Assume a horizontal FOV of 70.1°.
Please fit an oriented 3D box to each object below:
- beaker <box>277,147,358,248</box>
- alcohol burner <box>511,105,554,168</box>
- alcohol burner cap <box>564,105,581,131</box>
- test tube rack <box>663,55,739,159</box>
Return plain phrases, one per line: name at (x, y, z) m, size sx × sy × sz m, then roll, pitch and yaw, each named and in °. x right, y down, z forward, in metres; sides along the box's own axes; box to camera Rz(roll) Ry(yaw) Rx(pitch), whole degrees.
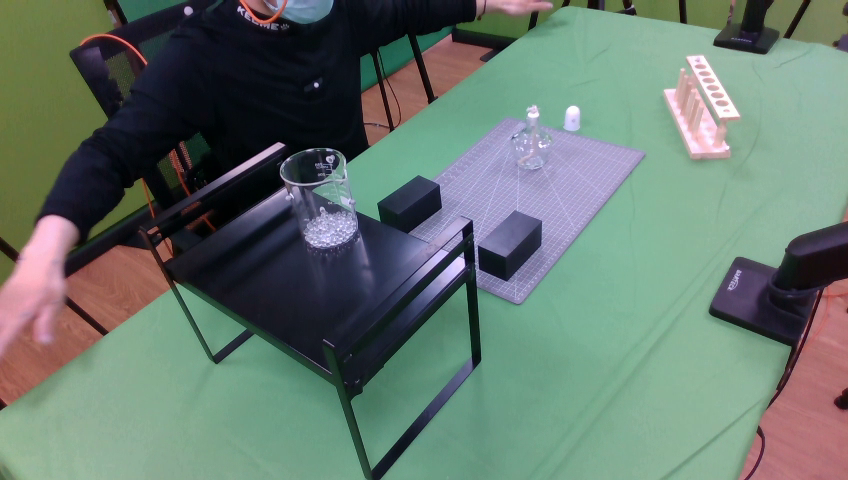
beaker at (-0.117, -0.046, 0.705) m, size 0.083 × 0.101 × 0.074 m, roll 17°, pitch 47°, yaw 25°
alcohol burner at (0.195, -0.190, 1.088) m, size 0.078 × 0.119 × 0.077 m, roll -3°, pitch 42°, yaw 3°
alcohol burner cap at (0.294, -0.243, 1.195) m, size 0.034 × 0.048 × 0.033 m, roll -3°, pitch 39°, yaw 3°
test tube rack at (0.518, -0.256, 1.144) m, size 0.066 × 0.085 × 0.241 m, roll -1°, pitch 41°, yaw 8°
